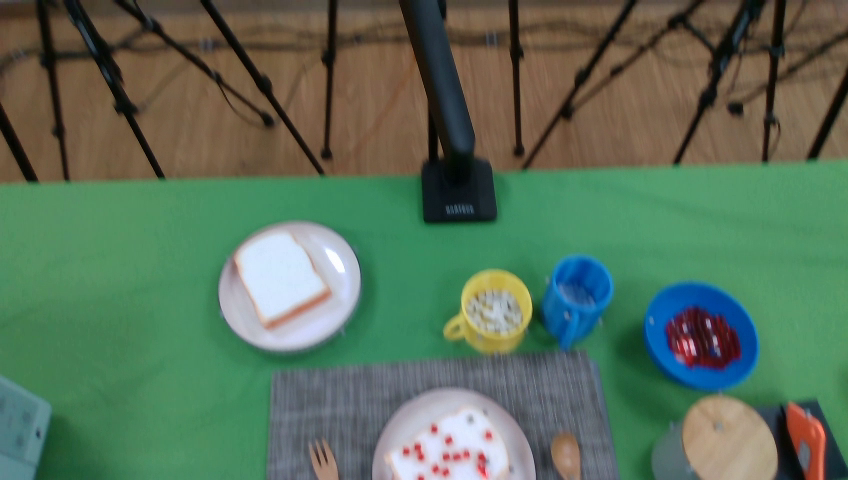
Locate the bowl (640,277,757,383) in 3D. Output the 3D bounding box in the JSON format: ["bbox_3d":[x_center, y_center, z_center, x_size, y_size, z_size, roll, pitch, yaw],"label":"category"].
[{"bbox_3d":[0.368,0.135,0.843,0.151,0.077,0.150,1,60,-1],"label":"bowl"}]

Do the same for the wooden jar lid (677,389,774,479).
[{"bbox_3d":[0.341,0.225,0.691,0.108,0.021,0.107,2,62,-2],"label":"wooden jar lid"}]

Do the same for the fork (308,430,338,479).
[{"bbox_3d":[-0.101,0.335,0.750,0.028,0.019,0.205,-18,60,-19],"label":"fork"}]

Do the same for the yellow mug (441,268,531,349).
[{"bbox_3d":[0.084,0.104,0.864,0.131,0.064,0.099,-22,62,-11],"label":"yellow mug"}]

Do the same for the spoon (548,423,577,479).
[{"bbox_3d":[0.193,0.328,0.757,0.042,0.022,0.192,3,57,-24],"label":"spoon"}]

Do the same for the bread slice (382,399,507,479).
[{"bbox_3d":[0.031,0.254,0.721,0.134,0.018,0.106,-33,71,-24],"label":"bread slice"}]

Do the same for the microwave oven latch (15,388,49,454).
[{"bbox_3d":[-0.507,0.231,0.774,0.030,0.030,0.078,3,61,0],"label":"microwave oven latch"}]

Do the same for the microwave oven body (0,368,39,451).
[{"bbox_3d":[-0.649,0.338,0.598,0.326,0.262,0.437,-1,61,-2],"label":"microwave oven body"}]

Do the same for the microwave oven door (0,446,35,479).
[{"bbox_3d":[-0.502,0.369,0.577,0.039,0.246,0.352,-1,60,-1],"label":"microwave oven door"}]

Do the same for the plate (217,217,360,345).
[{"bbox_3d":[-0.197,0.062,0.899,0.208,0.039,0.206,1,60,-1],"label":"plate"}]

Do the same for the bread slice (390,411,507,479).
[{"bbox_3d":[0.025,0.295,0.768,0.131,0.019,0.104,-31,64,-20],"label":"bread slice"}]

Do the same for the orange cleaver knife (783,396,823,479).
[{"bbox_3d":[0.471,0.303,0.747,0.012,0.077,0.211,-4,87,-2],"label":"orange cleaver knife"}]

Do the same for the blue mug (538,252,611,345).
[{"bbox_3d":[0.206,0.091,0.851,0.082,0.107,0.116,15,61,8],"label":"blue mug"}]

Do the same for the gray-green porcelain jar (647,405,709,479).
[{"bbox_3d":[0.341,0.258,0.745,0.106,0.127,0.105,1,60,-1],"label":"gray-green porcelain jar"}]

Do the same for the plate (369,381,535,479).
[{"bbox_3d":[0.035,0.285,0.770,0.209,0.038,0.207,0,60,0],"label":"plate"}]
